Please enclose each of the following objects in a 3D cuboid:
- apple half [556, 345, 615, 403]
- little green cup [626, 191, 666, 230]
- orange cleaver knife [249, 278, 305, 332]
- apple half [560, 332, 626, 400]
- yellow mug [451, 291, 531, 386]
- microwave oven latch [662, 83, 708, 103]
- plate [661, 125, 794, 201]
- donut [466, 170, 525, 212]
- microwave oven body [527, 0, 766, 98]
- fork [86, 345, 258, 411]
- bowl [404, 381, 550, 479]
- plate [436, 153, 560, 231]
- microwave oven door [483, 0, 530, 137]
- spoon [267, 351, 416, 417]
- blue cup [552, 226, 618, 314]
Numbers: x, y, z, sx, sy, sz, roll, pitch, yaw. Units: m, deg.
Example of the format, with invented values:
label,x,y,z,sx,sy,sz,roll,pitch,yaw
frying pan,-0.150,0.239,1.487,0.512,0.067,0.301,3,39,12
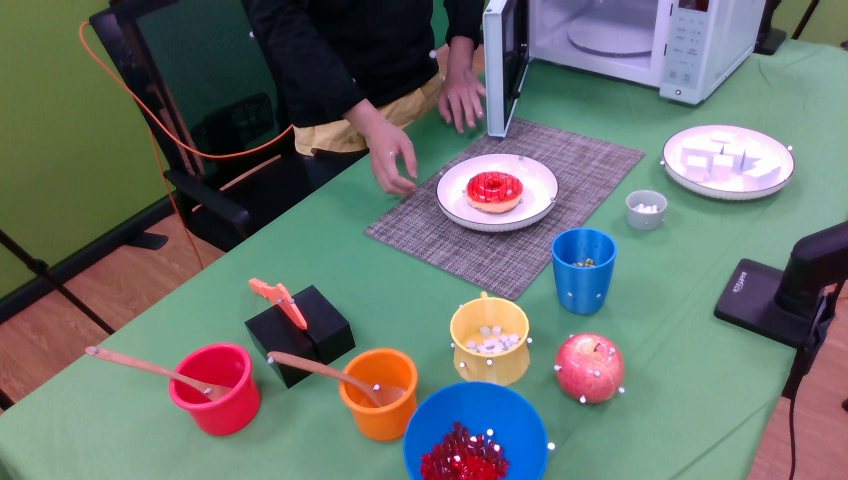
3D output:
label,x,y,z,sx,sy,sz,roll,pitch,yaw
apple half,0.181,0.166,0.709,0.080,0.081,0.033,29,50,35
little green cup,0.352,-0.046,0.963,0.061,0.039,0.061,-4,40,4
orange cleaver knife,-0.210,0.089,0.855,0.012,0.077,0.210,-28,15,-25
apple half,0.209,0.147,0.730,0.080,0.075,0.053,26,48,38
yellow mug,0.086,0.120,0.786,0.100,0.064,0.130,-7,39,2
microwave oven latch,0.518,-0.296,1.204,0.078,0.029,0.030,28,52,35
plate,0.513,-0.128,1.035,0.207,0.039,0.206,-4,40,4
donut,0.120,-0.083,1.019,0.099,0.048,0.098,-4,38,3
microwave oven body,0.472,-0.513,1.317,0.438,0.261,0.327,26,51,34
fork,-0.299,0.167,0.728,0.209,0.018,0.028,28,47,-23
bowl,0.058,0.235,0.645,0.151,0.077,0.150,-4,39,4
plate,0.125,-0.078,1.029,0.209,0.038,0.208,-4,40,4
microwave oven door,0.174,-0.408,1.231,0.039,0.245,0.355,5,42,15
spoon,-0.091,0.163,0.699,0.021,0.195,0.041,-44,30,27
blue cup,0.218,0.047,0.825,0.092,0.100,0.092,-6,40,5
